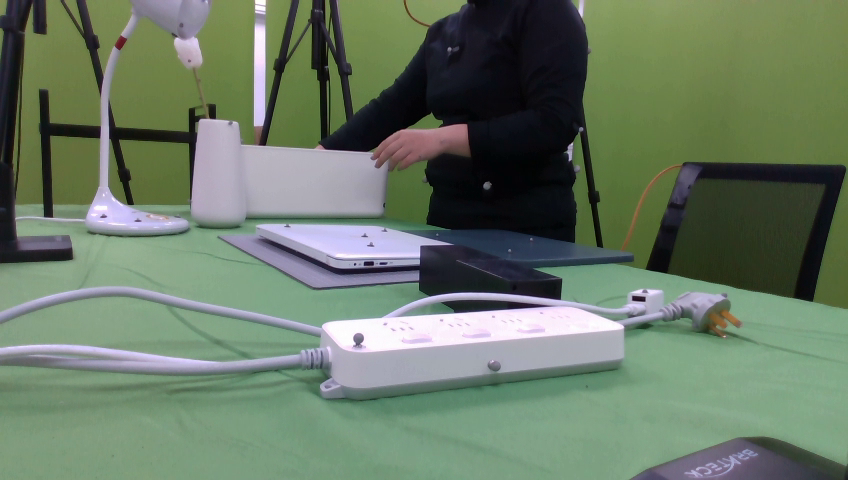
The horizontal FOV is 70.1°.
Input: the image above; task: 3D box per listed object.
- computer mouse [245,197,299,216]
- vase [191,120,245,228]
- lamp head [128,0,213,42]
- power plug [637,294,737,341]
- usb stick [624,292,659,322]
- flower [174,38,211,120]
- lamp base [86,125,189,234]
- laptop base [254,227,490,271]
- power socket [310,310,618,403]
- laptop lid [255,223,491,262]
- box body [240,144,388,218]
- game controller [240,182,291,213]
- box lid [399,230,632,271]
[{"bbox_3d":[-0.345,-0.076,1.369,0.118,0.041,0.062,-9,13,-31],"label":"computer mouse"},{"bbox_3d":[-0.389,-0.124,1.142,0.098,0.200,0.098,3,9,0],"label":"vase"},{"bbox_3d":[-0.423,-0.394,0.980,0.123,0.112,0.112,20,7,-3],"label":"lamp head"},{"bbox_3d":[0.234,0.077,0.535,0.072,0.035,0.052,-33,39,-5],"label":"power plug"},{"bbox_3d":[0.211,0.063,0.580,0.021,0.027,0.059,-1,-3,36],"label":"usb stick"},{"bbox_3d":[-0.401,-0.207,1.141,0.038,0.361,0.044,-14,3,44],"label":"flower"},{"bbox_3d":[-0.497,-0.105,1.027,0.179,0.180,0.160,1,7,2],"label":"lamp base"},{"bbox_3d":[-0.096,0.012,0.911,0.237,0.023,0.352,2,6,-32],"label":"laptop base"},{"bbox_3d":[0.033,0.074,0.415,0.228,0.032,0.072,-1,8,-24],"label":"power socket"},{"bbox_3d":[-0.093,0.000,0.911,0.243,0.013,0.355,1,7,-30],"label":"laptop lid"},{"bbox_3d":[-0.297,-0.143,1.474,0.366,0.160,0.253,-1,9,-30],"label":"box body"},{"bbox_3d":[-0.384,-0.106,1.454,0.097,0.051,0.154,-8,23,-24],"label":"game controller"},{"bbox_3d":[0.140,0.013,1.045,0.265,0.015,0.369,-1,8,-32],"label":"box lid"}]
